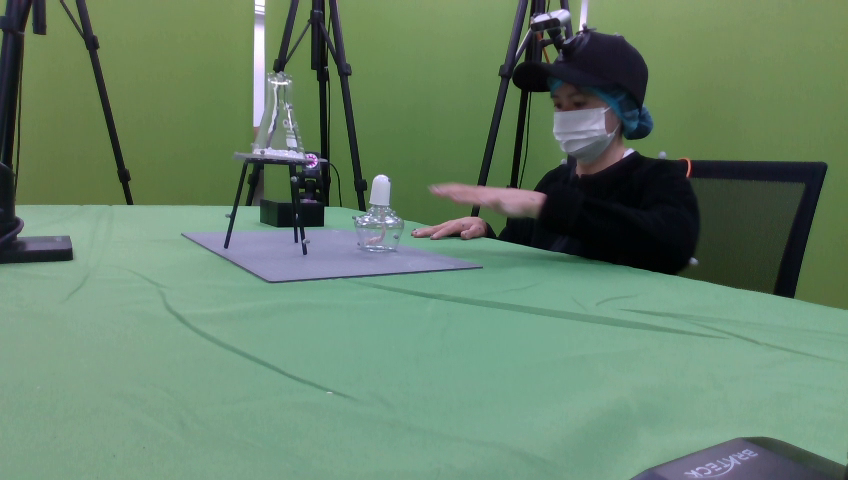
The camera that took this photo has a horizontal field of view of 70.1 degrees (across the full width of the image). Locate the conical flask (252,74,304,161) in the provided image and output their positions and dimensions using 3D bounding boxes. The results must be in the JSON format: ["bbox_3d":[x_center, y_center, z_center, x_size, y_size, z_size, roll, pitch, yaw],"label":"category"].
[{"bbox_3d":[-0.211,-0.177,0.879,0.075,0.122,0.075,3,6,0],"label":"conical flask"}]

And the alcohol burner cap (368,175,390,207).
[{"bbox_3d":[-0.067,-0.075,0.923,0.034,0.048,0.034,8,11,-1],"label":"alcohol burner cap"}]

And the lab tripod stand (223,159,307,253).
[{"bbox_3d":[-0.220,-0.053,0.896,0.148,0.131,0.148,1,6,0],"label":"lab tripod stand"}]

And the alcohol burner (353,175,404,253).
[{"bbox_3d":[-0.069,-0.040,0.926,0.078,0.119,0.078,1,9,0],"label":"alcohol burner"}]

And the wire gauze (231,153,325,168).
[{"bbox_3d":[-0.215,-0.117,0.882,0.125,0.011,0.121,3,7,-19],"label":"wire gauze"}]
